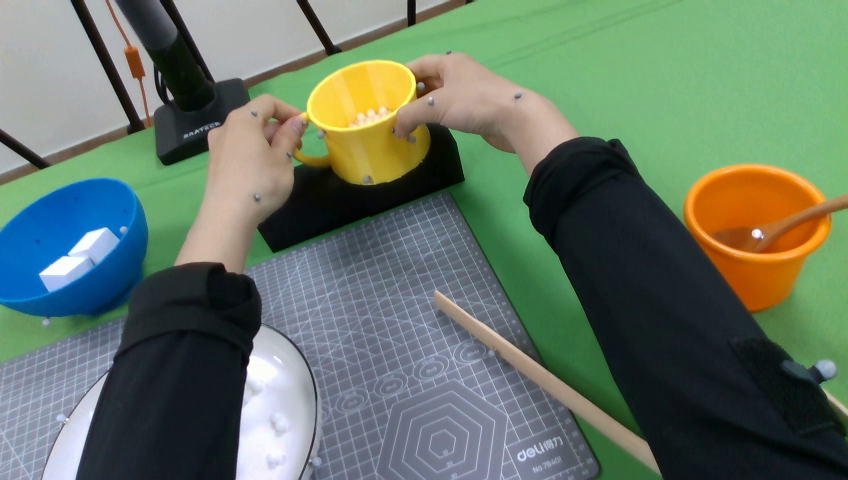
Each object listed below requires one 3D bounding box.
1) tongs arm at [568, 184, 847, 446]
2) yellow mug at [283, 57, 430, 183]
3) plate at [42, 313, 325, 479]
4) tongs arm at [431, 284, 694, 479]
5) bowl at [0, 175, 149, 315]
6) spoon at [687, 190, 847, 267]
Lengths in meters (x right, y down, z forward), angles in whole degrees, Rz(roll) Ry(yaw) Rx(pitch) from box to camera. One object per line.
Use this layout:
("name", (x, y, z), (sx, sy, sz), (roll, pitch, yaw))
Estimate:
("tongs arm", (0.208, 0.083, 0.406), (0.051, 0.027, 0.380), (-31, 51, -14))
("yellow mug", (-0.065, -0.105, 0.552), (0.131, 0.064, 0.099), (-20, 48, 1))
("plate", (-0.169, 0.149, 0.443), (0.207, 0.039, 0.205), (-8, 48, 9))
("tongs arm", (0.144, 0.128, 0.385), (0.384, 0.028, 0.028), (33, 60, 33))
("bowl", (-0.322, 0.018, 0.576), (0.151, 0.077, 0.150), (-8, 49, 10))
("spoon", (0.260, -0.018, 0.400), (0.022, 0.193, 0.041), (38, 59, -12))
